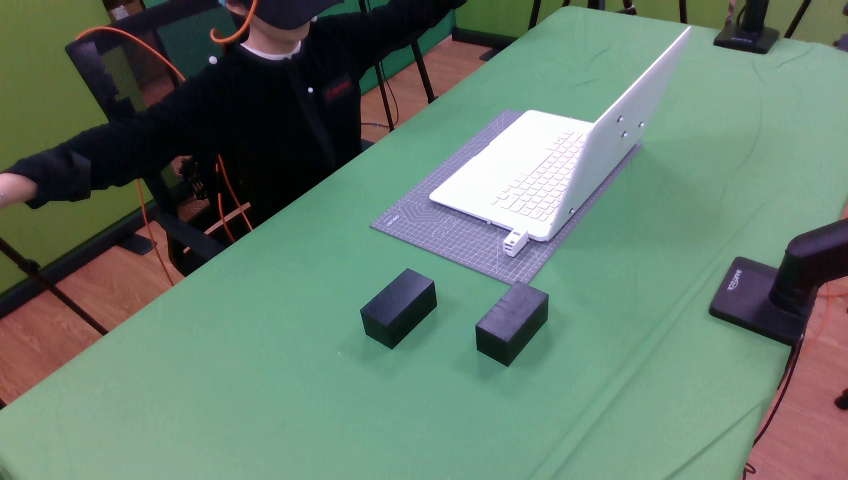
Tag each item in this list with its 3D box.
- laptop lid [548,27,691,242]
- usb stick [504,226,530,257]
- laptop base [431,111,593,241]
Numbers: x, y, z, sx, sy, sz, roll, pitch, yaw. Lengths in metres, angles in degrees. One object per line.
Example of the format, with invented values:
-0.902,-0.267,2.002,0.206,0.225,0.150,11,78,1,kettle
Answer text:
0.310,-0.168,0.950,0.013,0.242,0.358,33,52,20,laptop lid
0.149,-0.002,0.940,0.021,0.027,0.059,22,47,32,usb stick
0.207,-0.129,1.100,0.233,0.023,0.355,20,48,33,laptop base
